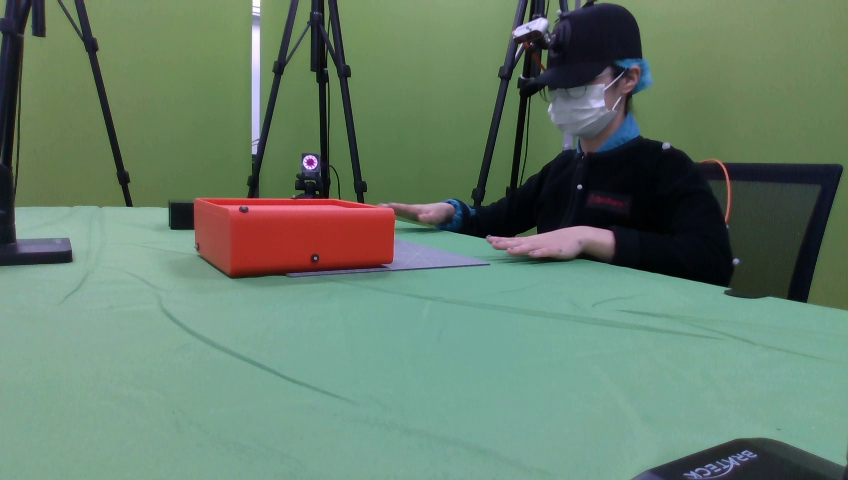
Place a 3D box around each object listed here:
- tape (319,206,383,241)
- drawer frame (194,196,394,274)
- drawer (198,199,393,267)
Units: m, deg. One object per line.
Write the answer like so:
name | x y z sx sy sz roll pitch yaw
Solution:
tape | -0.129 -0.030 1.075 0.117 0.052 0.117 3 8 0
drawer frame | -0.178 -0.014 0.815 0.215 0.082 0.200 -4 9 -32
drawer | -0.177 -0.014 0.817 0.213 0.073 0.193 -3 9 -31
